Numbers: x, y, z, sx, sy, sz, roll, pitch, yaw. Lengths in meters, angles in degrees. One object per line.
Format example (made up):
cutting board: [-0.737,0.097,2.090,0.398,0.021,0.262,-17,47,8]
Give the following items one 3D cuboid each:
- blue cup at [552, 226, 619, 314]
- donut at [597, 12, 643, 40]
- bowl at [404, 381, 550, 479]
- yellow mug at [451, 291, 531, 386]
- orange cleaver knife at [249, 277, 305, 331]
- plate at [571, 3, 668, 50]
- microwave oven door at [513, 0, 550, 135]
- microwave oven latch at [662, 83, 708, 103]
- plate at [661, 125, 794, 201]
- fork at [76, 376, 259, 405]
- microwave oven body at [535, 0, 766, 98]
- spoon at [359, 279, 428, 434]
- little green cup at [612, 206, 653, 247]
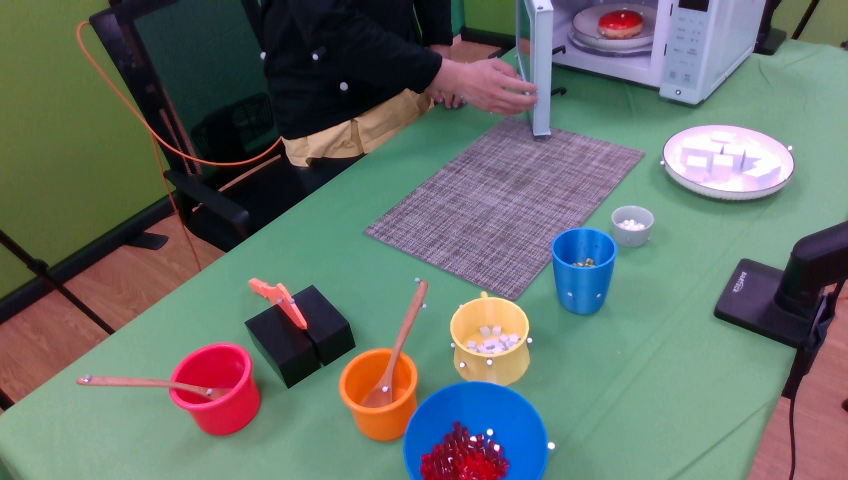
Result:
blue cup: [0.218,0.047,0.825,0.092,0.101,0.092,-6,40,5]
donut: [0.435,-0.478,1.346,0.099,0.048,0.098,-4,35,4]
bowl: [0.058,0.235,0.645,0.151,0.077,0.150,-4,39,4]
yellow mug: [0.086,0.120,0.786,0.100,0.064,0.130,-7,39,1]
orange cleaver knife: [-0.210,0.088,0.855,0.012,0.077,0.210,-28,15,-25]
plate: [0.435,-0.476,1.357,0.209,0.038,0.208,-5,41,5]
microwave oven door: [0.216,-0.408,1.224,0.039,0.245,0.354,-4,40,4]
microwave oven latch: [0.518,-0.297,1.204,0.078,0.029,0.030,29,53,36]
plate: [0.513,-0.128,1.035,0.207,0.039,0.206,-4,40,4]
fork: [-0.295,0.176,0.716,0.209,0.018,0.028,19,27,-36]
microwave oven body: [0.472,-0.513,1.317,0.438,0.261,0.327,26,51,34]
spoon: [-0.032,0.138,0.719,0.041,0.193,0.022,22,4,30]
little green cup: [0.321,-0.019,0.936,0.061,0.039,0.061,-4,41,4]
